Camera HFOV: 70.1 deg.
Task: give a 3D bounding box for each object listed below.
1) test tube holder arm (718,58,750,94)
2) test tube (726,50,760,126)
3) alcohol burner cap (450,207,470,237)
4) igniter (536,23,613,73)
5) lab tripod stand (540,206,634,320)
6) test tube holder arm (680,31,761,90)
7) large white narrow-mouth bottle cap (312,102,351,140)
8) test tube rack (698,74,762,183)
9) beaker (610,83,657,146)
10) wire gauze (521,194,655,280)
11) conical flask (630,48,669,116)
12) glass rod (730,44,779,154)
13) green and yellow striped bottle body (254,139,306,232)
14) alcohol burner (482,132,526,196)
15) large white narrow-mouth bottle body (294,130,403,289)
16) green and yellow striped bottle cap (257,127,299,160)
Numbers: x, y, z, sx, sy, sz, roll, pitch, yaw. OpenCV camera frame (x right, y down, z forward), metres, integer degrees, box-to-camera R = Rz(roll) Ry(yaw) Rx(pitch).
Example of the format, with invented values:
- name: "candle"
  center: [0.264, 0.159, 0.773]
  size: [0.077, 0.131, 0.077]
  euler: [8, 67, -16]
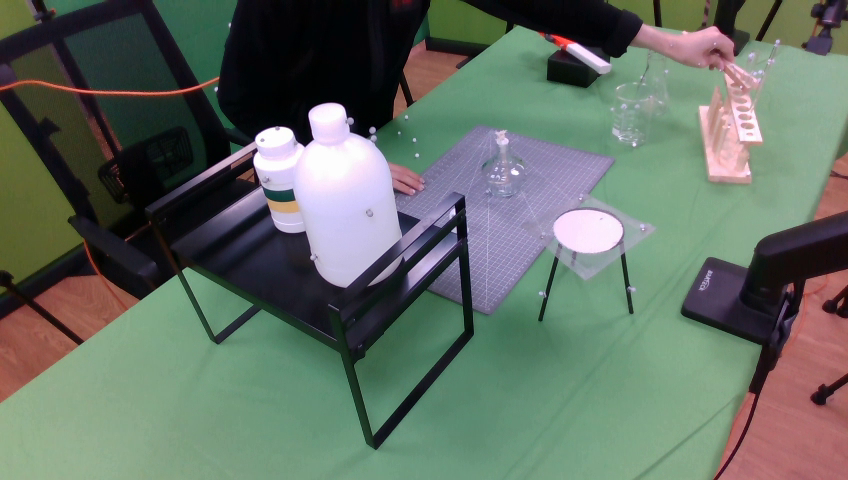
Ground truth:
- name: "test tube holder arm"
  center: [0.558, -0.297, 1.089]
  size: [0.010, 0.015, 0.087]
  euler: [-13, 57, -6]
- name: "test tube"
  center: [0.571, -0.270, 1.086]
  size: [0.017, 0.151, 0.017]
  euler: [-2, 45, 2]
- name: "alcohol burner cap"
  center: [0.057, -0.032, 0.987]
  size: [0.034, 0.048, 0.033]
  euler: [-5, 41, 5]
- name: "igniter"
  center: [0.330, -0.439, 1.365]
  size: [0.057, 0.025, 0.274]
  euler: [-12, 40, -20]
- name: "lab tripod stand"
  center: [0.218, 0.034, 0.821]
  size: [0.148, 0.132, 0.147]
  euler: [-4, 42, 4]
- name: "test tube holder arm"
  center: [0.543, -0.331, 1.112]
  size: [0.013, 0.015, 0.177]
  euler: [-29, 61, -17]
- name: "large white narrow-mouth bottle cap"
  center: [-0.089, -0.114, 0.579]
  size: [0.038, 0.024, 0.037]
  euler: [-4, 39, 3]
- name: "test tube rack"
  center: [0.547, -0.208, 1.094]
  size: [0.066, 0.085, 0.242]
  euler: [5, 42, 15]
- name: "beaker"
  center: [0.388, -0.235, 1.138]
  size: [0.074, 0.101, 0.083]
  euler: [-31, 45, -25]
- name: "wire gauze"
  center: [0.207, -0.012, 0.772]
  size: [0.122, 0.011, 0.124]
  euler: [-28, 44, -20]
- name: "conical flask"
  center: [0.457, -0.317, 1.205]
  size: [0.075, 0.122, 0.075]
  euler: [-4, 41, 4]
- name: "glass rod"
  center: [0.555, -0.233, 1.020]
  size: [0.008, 0.200, 0.008]
  euler: [2, 39, -1]
- name: "green and yellow striped bottle body"
  center: [-0.165, -0.073, 0.732]
  size: [0.063, 0.120, 0.063]
  euler: [-4, 41, 4]
- name: "alcohol burner"
  center: [0.137, -0.136, 1.042]
  size: [0.078, 0.119, 0.077]
  euler: [-4, 43, 4]
- name: "large white narrow-mouth bottle body"
  center: [-0.082, -0.047, 0.634]
  size: [0.102, 0.195, 0.101]
  euler: [-4, 39, 4]
- name: "green and yellow striped bottle cap"
  center: [-0.169, -0.112, 0.699]
  size: [0.045, 0.020, 0.045]
  euler: [-6, 40, 6]
